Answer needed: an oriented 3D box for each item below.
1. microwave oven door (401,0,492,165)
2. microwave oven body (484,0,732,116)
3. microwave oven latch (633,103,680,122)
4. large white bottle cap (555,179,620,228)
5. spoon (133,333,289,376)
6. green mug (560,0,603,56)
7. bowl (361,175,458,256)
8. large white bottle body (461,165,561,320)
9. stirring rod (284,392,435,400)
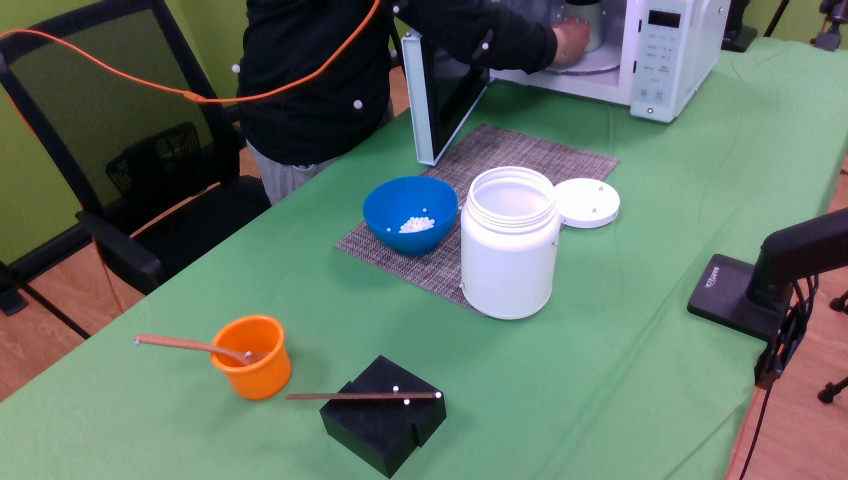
[{"bbox_3d":[0.056,-0.343,1.166,0.039,0.245,0.356,10,44,21],"label":"microwave oven door"},{"bbox_3d":[0.377,-0.463,1.267,0.438,0.261,0.327,21,49,30],"label":"microwave oven body"},{"bbox_3d":[0.443,-0.249,1.157,0.078,0.029,0.030,21,49,30],"label":"microwave oven latch"},{"bbox_3d":[0.265,-0.062,1.001,0.115,0.018,0.114,-3,41,3],"label":"large white bottle cap"},{"bbox_3d":[-0.257,0.137,0.747,0.021,0.195,0.041,-47,40,23],"label":"spoon"},{"bbox_3d":[0.334,-0.451,1.295,0.092,0.105,0.125,11,47,24],"label":"green mug"},{"bbox_3d":[-0.019,-0.028,0.955,0.151,0.077,0.150,-4,40,3],"label":"bowl"},{"bbox_3d":[0.115,0.004,0.816,0.130,0.185,0.130,-2,43,2],"label":"large white bottle body"},{"bbox_3d":[-0.075,0.180,0.698,0.176,0.006,0.014,-2,6,7],"label":"stirring rod"}]
